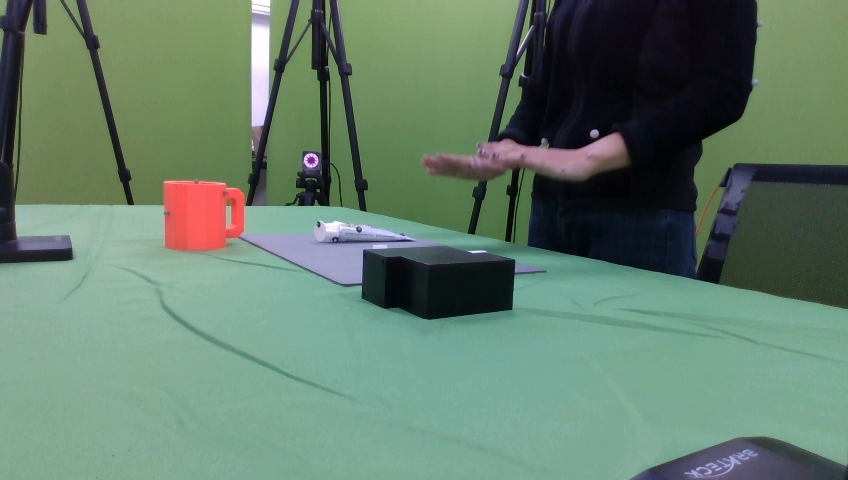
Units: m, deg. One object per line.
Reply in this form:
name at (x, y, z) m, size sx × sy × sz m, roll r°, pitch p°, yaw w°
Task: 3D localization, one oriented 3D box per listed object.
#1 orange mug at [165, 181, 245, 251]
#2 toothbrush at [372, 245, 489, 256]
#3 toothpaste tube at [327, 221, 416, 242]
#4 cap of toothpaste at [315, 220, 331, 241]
orange mug at (-0.326, -0.040, 0.911) m, size 0.083 × 0.101 × 0.127 m, roll 8°, pitch 14°, yaw 37°
toothbrush at (0.012, 0.016, 0.874) m, size 0.183 × 0.016 × 0.014 m, roll 1°, pitch -6°, yaw -22°
toothpaste tube at (-0.095, -0.012, 1.026) m, size 0.166 × 0.034 × 0.055 m, roll 2°, pitch 13°, yaw -33°
cap of toothpaste at (-0.164, -0.016, 0.982) m, size 0.011 × 0.037 × 0.037 m, roll -8°, pitch 12°, yaw -43°
